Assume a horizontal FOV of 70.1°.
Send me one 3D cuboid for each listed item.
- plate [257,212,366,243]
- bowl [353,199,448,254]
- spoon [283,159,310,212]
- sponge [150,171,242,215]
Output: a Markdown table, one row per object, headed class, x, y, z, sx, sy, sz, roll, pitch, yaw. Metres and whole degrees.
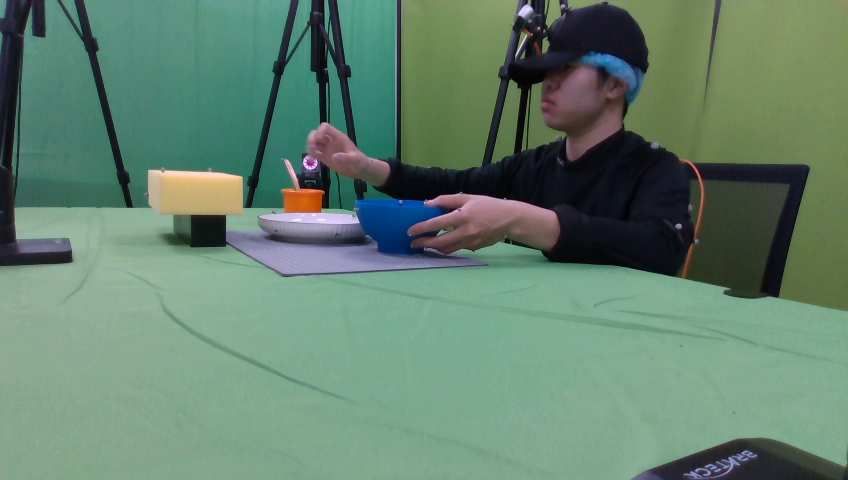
| class | x | y | z | sx | sy | sz | roll | pitch | yaw |
| --- | --- | --- | --- | --- | --- | --- | --- | --- | --- |
| plate | -0.189 | -0.023 | 1.072 | 0.209 | 0.038 | 0.209 | 3 | 7 | 0 |
| bowl | -0.038 | -0.021 | 0.952 | 0.151 | 0.077 | 0.151 | 3 | 7 | 0 |
| spoon | -0.279 | -0.111 | 1.323 | 0.042 | 0.193 | 0.021 | 4 | -40 | -36 |
| sponge | -0.379 | -0.079 | 0.994 | 0.119 | 0.061 | 0.206 | -1 | 7 | -29 |
